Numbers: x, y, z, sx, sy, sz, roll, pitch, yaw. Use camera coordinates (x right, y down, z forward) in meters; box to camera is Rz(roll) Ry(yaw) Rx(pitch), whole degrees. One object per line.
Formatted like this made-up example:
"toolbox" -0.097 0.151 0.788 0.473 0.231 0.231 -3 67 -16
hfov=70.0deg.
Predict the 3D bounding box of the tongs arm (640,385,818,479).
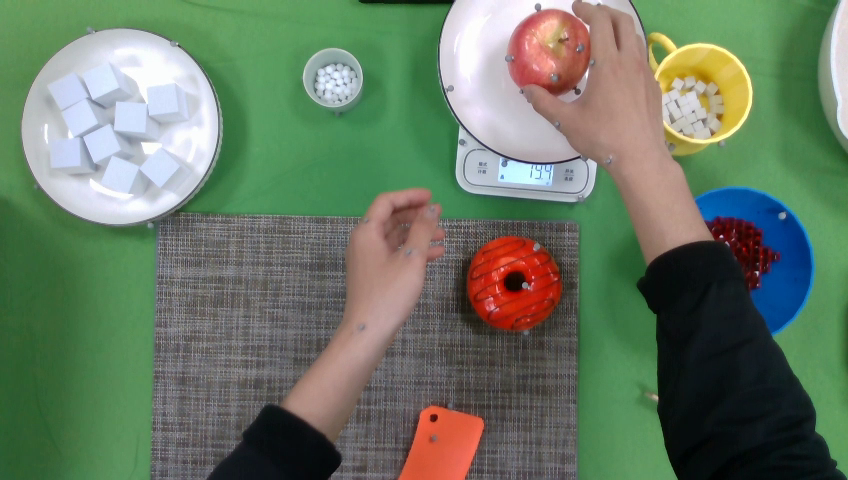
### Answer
"tongs arm" 0.394 0.256 0.628 0.387 0.028 0.028 31 81 1

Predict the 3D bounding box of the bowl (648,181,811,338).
"bowl" 0.293 0.020 0.612 0.151 0.077 0.151 0 89 1

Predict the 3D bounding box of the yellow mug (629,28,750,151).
"yellow mug" 0.260 -0.160 0.622 0.100 0.064 0.130 -32 87 1

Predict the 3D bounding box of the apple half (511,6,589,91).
"apple half" 0.126 -0.189 0.583 0.053 0.075 0.080 -44 85 -4

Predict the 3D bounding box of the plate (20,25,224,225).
"plate" -0.311 -0.118 0.639 0.208 0.039 0.207 0 88 0

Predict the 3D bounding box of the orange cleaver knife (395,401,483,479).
"orange cleaver knife" -0.011 0.264 0.631 0.077 0.012 0.211 30 86 -5

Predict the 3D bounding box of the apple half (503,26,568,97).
"apple half" 0.098 -0.161 0.580 0.033 0.081 0.081 -42 88 -6

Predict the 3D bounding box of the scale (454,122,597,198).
"scale" 0.112 -0.150 0.640 0.149 0.031 0.200 5 89 1

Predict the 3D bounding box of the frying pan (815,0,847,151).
"frying pan" 0.583 -0.088 0.599 0.307 0.103 0.485 -26 80 1

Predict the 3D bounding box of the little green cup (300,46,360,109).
"little green cup" -0.096 -0.168 0.639 0.061 0.038 0.061 0 88 1

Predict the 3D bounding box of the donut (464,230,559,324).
"donut" 0.089 0.038 0.625 0.099 0.048 0.099 0 89 2

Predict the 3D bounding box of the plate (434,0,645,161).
"plate" 0.113 -0.181 0.608 0.209 0.038 0.209 0 88 0
